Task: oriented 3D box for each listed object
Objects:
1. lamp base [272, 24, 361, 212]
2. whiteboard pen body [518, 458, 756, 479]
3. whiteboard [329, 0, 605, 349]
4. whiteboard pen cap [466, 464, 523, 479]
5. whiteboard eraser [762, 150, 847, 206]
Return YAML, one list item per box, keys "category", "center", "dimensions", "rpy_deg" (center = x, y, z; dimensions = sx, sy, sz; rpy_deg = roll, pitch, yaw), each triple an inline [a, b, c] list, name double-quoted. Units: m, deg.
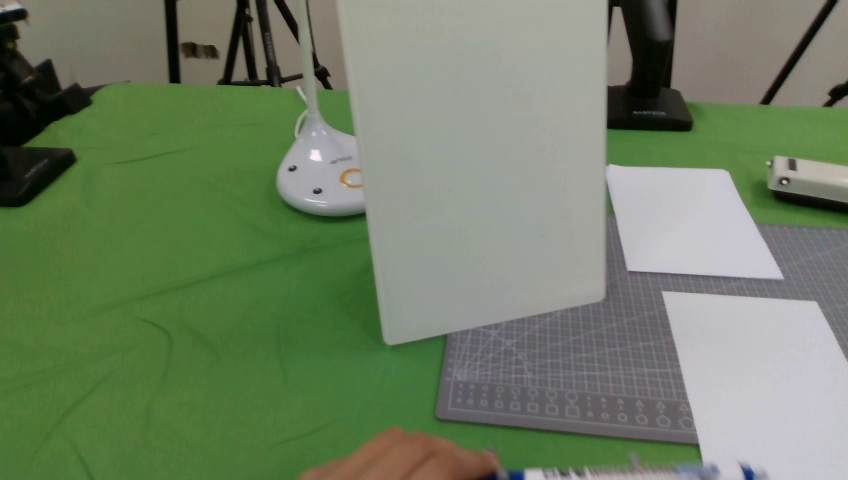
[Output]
- category: "lamp base"
  center: [-0.117, -0.150, 0.709]
  dimensions: [0.161, 0.182, 0.177]
  rpy_deg: [-29, 43, -30]
- category: "whiteboard pen body"
  center: [0.098, 0.125, 0.319]
  dimensions: [0.140, 0.017, 0.017]
  rpy_deg: [-6, 37, 11]
- category: "whiteboard"
  center: [0.037, -0.086, 0.569]
  dimensions: [0.217, 0.307, 0.142]
  rpy_deg: [-10, 20, -10]
- category: "whiteboard pen cap"
  center: [0.040, 0.131, 0.332]
  dimensions: [0.033, 0.018, 0.018]
  rpy_deg: [-4, 38, 8]
- category: "whiteboard eraser"
  center: [0.456, -0.071, 0.704]
  dimensions: [0.112, 0.042, 0.055]
  rpy_deg: [14, 42, 18]
